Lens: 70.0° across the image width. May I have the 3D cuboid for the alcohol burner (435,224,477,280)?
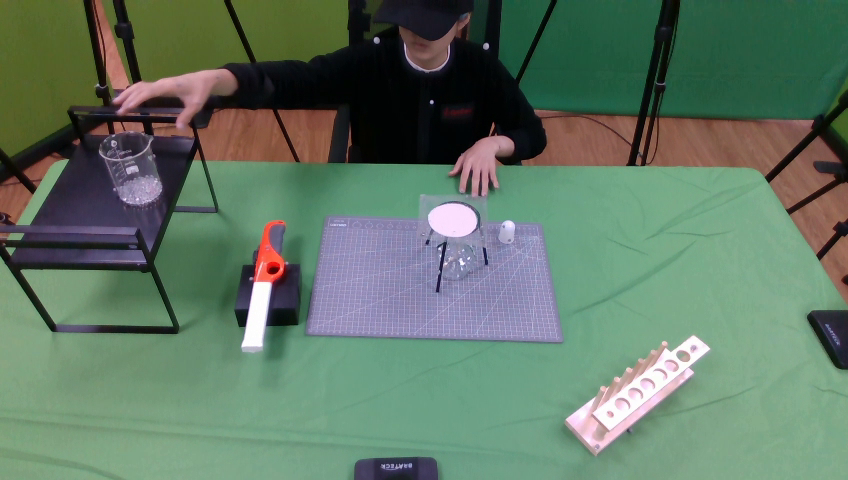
[{"bbox_3d":[0.060,0.017,1.114,0.078,0.119,0.077,3,44,-2],"label":"alcohol burner"}]

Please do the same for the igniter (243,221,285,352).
[{"bbox_3d":[-0.273,0.068,1.041,0.057,0.025,0.274,2,48,-5],"label":"igniter"}]

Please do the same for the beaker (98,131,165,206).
[{"bbox_3d":[-0.460,-0.112,0.968,0.073,0.101,0.084,37,54,28],"label":"beaker"}]

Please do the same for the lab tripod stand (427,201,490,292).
[{"bbox_3d":[0.053,0.003,1.114,0.148,0.132,0.147,0,46,0],"label":"lab tripod stand"}]

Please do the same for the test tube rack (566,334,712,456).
[{"bbox_3d":[0.339,0.228,0.950,0.242,0.085,0.066,-27,52,-26],"label":"test tube rack"}]

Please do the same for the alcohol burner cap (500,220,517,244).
[{"bbox_3d":[0.170,-0.018,1.205,0.034,0.048,0.033,1,46,0],"label":"alcohol burner cap"}]

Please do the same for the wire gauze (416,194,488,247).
[{"bbox_3d":[0.050,-0.039,1.060,0.125,0.011,0.121,4,46,3],"label":"wire gauze"}]
